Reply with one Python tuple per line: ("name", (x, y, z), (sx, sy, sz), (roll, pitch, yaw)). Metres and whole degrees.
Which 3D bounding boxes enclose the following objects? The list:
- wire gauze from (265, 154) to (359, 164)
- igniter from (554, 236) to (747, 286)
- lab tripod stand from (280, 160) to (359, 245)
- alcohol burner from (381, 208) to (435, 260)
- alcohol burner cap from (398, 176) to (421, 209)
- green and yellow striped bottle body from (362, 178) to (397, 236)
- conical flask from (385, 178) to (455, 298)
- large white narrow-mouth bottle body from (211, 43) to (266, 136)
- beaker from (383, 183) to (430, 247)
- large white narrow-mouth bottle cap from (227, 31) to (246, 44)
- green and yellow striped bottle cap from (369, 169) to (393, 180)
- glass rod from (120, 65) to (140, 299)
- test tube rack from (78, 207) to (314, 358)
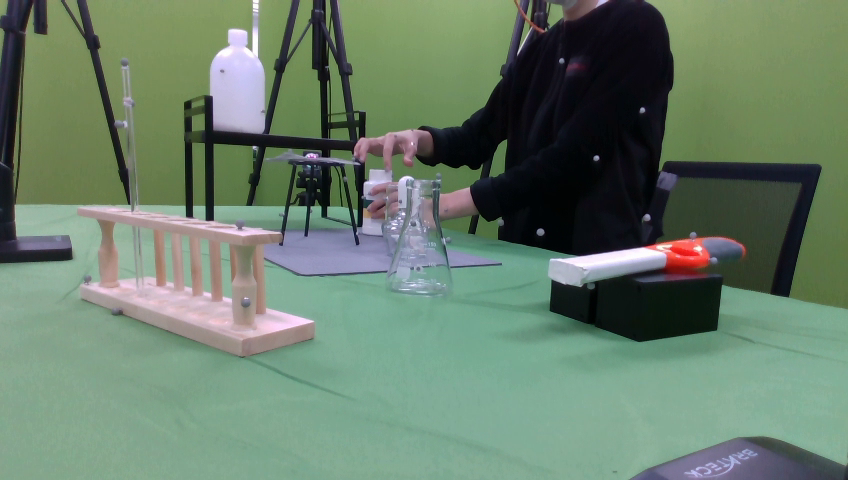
("wire gauze", (-0.181, -0.129, 0.969), (0.126, 0.011, 0.121), (-1, 7, -27))
("igniter", (0.221, 0.017, 0.558), (0.278, 0.025, 0.057), (-5, 14, -39))
("lab tripod stand", (-0.176, -0.062, 0.973), (0.148, 0.131, 0.148), (1, 7, 0))
("alcohol burner", (-0.023, -0.032, 0.871), (0.078, 0.119, 0.078), (0, 6, 0))
("alcohol burner cap", (-0.023, -0.068, 0.866), (0.034, 0.048, 0.034), (-5, 8, 1))
("green and yellow striped bottle body", (-0.081, -0.069, 1.117), (0.063, 0.119, 0.063), (3, 7, 0))
("conical flask", (-0.002, -0.004, 0.639), (0.075, 0.122, 0.075), (2, 7, 0))
("large white narrow-mouth bottle body", (-0.361, -0.302, 1.176), (0.102, 0.194, 0.102), (1, 7, 0))
("beaker", (-0.027, -0.041, 0.996), (0.074, 0.100, 0.083), (-5, 11, -43))
("large white narrow-mouth bottle cap", (-0.361, -0.388, 1.166), (0.038, 0.024, 0.037), (1, 7, 0))
("green and yellow striped bottle cap", (-0.078, -0.121, 1.112), (0.045, 0.020, 0.045), (1, 7, 0))
("glass rod", (-0.249, -0.047, 0.513), (0.008, 0.199, 0.008), (-1, 4, 0))
("test tube rack", (-0.196, 0.024, 0.499), (0.241, 0.085, 0.067), (8, 8, 37))
